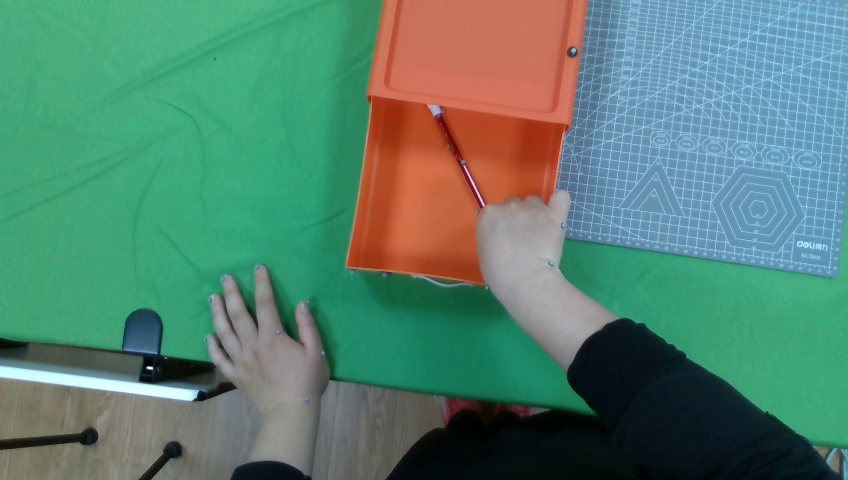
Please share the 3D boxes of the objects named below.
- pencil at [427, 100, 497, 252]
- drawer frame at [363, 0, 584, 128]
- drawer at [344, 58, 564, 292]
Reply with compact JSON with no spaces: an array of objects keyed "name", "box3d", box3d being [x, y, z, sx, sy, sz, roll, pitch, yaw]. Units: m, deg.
[{"name":"pencil","box3d":[0.040,-0.076,0.639,0.012,0.012,0.194,-23,88,0]},{"name":"drawer frame","box3d":[0.056,-0.225,0.619,0.201,0.083,0.213,8,85,3]},{"name":"drawer","box3d":[0.033,-0.062,0.612,0.194,0.073,0.211,8,88,3]}]
